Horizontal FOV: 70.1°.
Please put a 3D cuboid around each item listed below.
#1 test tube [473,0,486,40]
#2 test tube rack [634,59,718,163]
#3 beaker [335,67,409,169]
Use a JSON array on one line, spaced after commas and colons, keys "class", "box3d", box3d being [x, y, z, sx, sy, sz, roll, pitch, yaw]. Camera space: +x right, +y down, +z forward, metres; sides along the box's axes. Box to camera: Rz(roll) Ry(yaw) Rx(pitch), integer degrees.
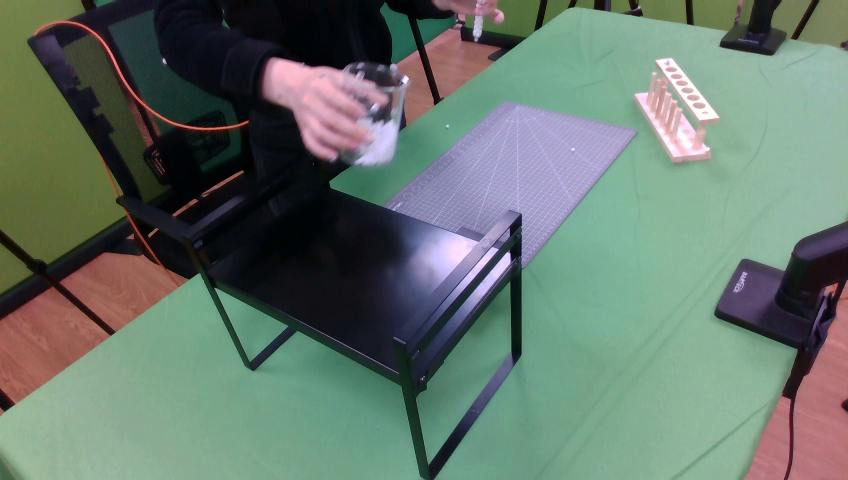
[{"class": "test tube", "box3d": [0.090, -0.383, 0.941, 0.017, 0.150, 0.017, 2, 47, -1]}, {"class": "test tube rack", "box3d": [0.470, -0.250, 1.148, 0.067, 0.085, 0.241, -6, 40, 3]}, {"class": "beaker", "box3d": [-0.063, -0.140, 0.705, 0.084, 0.100, 0.073, -6, 38, -26]}]
